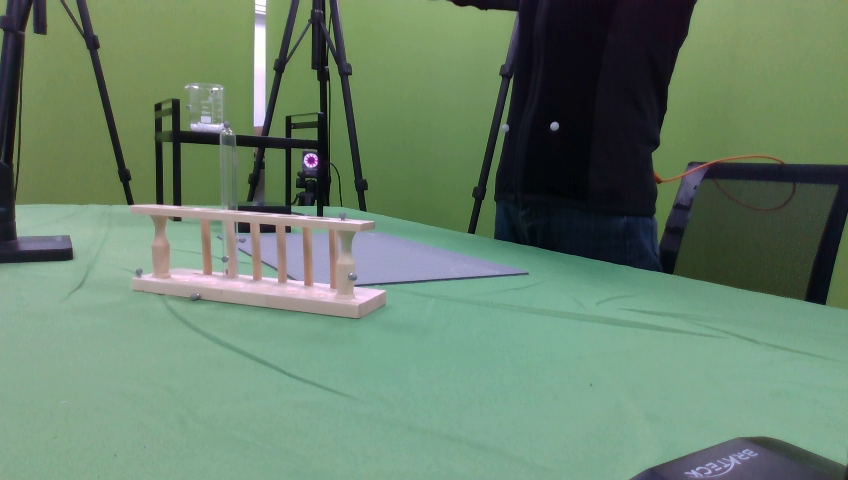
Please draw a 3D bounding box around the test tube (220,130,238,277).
[{"bbox_3d":[-0.197,-0.036,0.613,0.017,0.150,0.017,2,8,0],"label":"test tube"}]

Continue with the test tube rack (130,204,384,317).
[{"bbox_3d":[-0.163,0.013,0.589,0.242,0.085,0.067,5,8,17],"label":"test tube rack"}]

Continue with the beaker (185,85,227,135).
[{"bbox_3d":[-0.460,-0.275,1.282,0.084,0.100,0.073,-2,8,-27],"label":"beaker"}]
